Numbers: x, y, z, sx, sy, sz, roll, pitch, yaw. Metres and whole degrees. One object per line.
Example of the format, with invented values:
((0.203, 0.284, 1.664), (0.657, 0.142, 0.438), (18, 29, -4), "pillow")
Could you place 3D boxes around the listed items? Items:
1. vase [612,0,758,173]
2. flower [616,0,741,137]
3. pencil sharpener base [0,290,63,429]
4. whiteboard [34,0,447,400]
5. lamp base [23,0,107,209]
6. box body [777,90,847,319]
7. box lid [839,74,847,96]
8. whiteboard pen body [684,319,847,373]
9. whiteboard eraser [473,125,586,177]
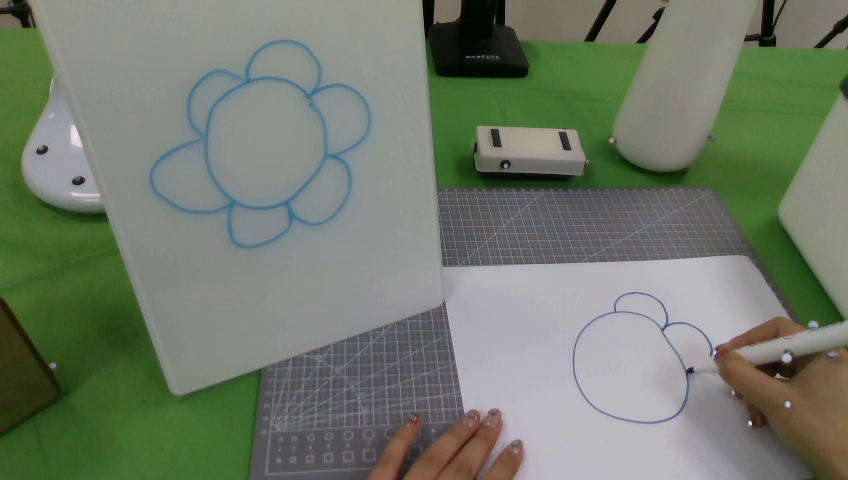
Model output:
((0.265, -0.167, 0.616), (0.098, 0.201, 0.097), (4, 45, -4), "vase")
((0.282, -0.214, 0.549), (0.044, 0.363, 0.038), (-21, 68, -33), "flower")
((-0.294, 0.064, 0.386), (0.076, 0.108, 0.061), (34, 52, 25), "pencil sharpener base")
((-0.118, -0.077, 0.448), (0.218, 0.308, 0.142), (-16, 30, -20), "whiteboard")
((-0.303, -0.145, 0.541), (0.178, 0.182, 0.160), (28, 49, 24), "lamp base")
((0.488, 0.036, 0.468), (0.254, 0.162, 0.360), (0, 46, -6), "box body")
((0.493, -0.016, 0.413), (0.264, 0.015, 0.367), (1, 45, -6), "box lid")
((0.242, 0.077, 0.424), (0.017, 0.141, 0.017), (15, 61, -28), "whiteboard pen body")
((0.109, -0.091, 0.634), (0.113, 0.042, 0.055), (0, 43, -5), "whiteboard eraser")
